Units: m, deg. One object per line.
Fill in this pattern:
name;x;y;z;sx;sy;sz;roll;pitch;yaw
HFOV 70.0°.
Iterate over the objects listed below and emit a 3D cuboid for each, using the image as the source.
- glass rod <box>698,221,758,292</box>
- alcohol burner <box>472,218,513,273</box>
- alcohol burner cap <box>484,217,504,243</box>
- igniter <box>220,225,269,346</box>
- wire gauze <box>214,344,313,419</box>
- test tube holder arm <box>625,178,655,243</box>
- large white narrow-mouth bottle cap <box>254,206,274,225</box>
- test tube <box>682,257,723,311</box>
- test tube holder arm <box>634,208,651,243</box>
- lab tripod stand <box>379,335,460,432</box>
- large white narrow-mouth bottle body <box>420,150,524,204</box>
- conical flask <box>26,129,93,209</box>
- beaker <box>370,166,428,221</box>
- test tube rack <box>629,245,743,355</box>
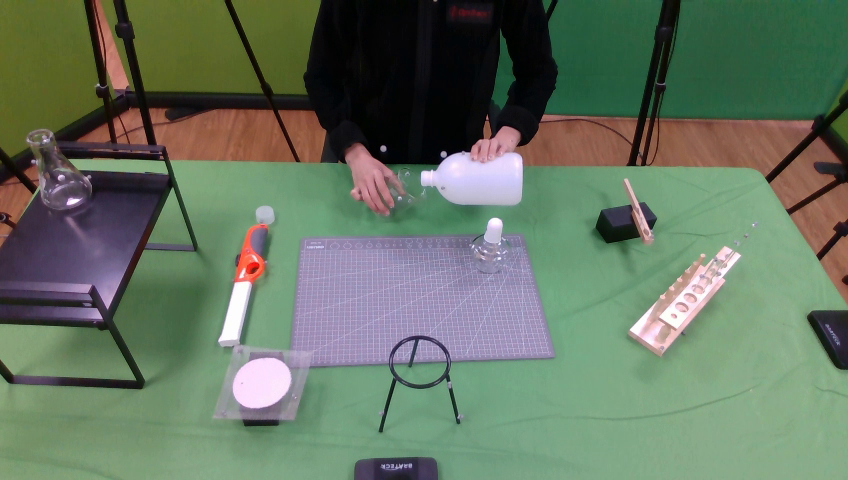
glass rod;0.527;0.035;1.060;0.008;0.200;0.008;5;49;-6
alcohol burner;0.128;0.005;1.132;0.078;0.120;0.077;0;47;0
alcohol burner cap;0.129;-0.021;1.107;0.034;0.048;0.033;4;41;-4
igniter;-0.323;0.072;1.100;0.057;0.025;0.275;-6;46;5
wire gauze;-0.241;0.213;0.915;0.121;0.011;0.124;5;46;1
test tube holder arm;0.433;-0.062;1.220;0.013;0.015;0.177;1;47;-3
large white narrow-mouth bottle cap;-0.323;-0.049;1.222;0.038;0.024;0.037;2;47;-2
test tube;0.475;0.080;1.037;0.017;0.151;0.017;1;51;-1
test tube holder arm;0.428;-0.030;1.189;0.010;0.015;0.087;1;47;-2
lab tripod stand;-0.011;0.214;0.911;0.148;0.132;0.147;1;45;0
large white narrow-mouth bottle body;0.091;-0.120;1.157;0.194;0.102;0.101;0;46;7
conical flask;-0.575;-0.113;0.946;0.075;0.122;0.075;2;46;-2
beaker;-0.052;-0.089;1.217;0.084;0.100;0.073;33;42;-29
test tube rack;0.474;0.095;1.091;0.242;0.085;0.066;-34;56;-31
